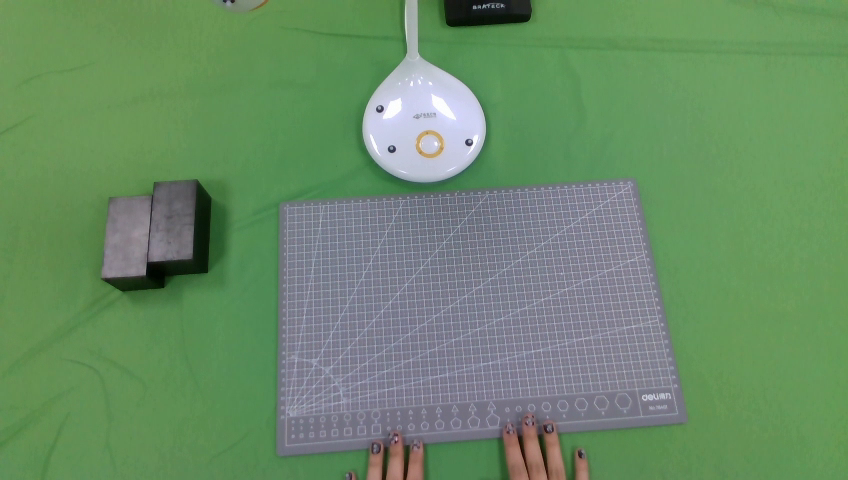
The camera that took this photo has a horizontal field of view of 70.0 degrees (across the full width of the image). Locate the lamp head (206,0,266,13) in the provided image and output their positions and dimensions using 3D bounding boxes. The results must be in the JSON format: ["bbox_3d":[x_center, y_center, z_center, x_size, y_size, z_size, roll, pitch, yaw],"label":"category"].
[{"bbox_3d":[-0.169,-0.255,0.507,0.112,0.124,0.111,-5,71,14],"label":"lamp head"}]

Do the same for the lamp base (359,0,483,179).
[{"bbox_3d":[-0.008,-0.189,0.714,0.161,0.181,0.177,-17,68,-6],"label":"lamp base"}]
